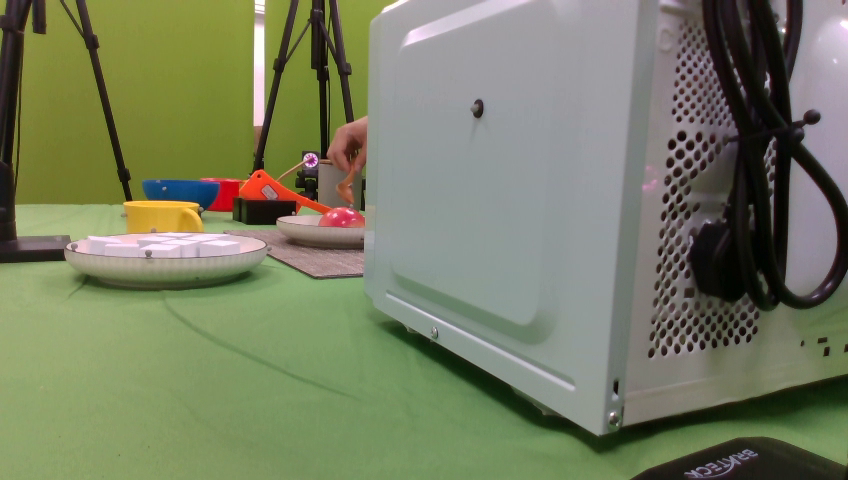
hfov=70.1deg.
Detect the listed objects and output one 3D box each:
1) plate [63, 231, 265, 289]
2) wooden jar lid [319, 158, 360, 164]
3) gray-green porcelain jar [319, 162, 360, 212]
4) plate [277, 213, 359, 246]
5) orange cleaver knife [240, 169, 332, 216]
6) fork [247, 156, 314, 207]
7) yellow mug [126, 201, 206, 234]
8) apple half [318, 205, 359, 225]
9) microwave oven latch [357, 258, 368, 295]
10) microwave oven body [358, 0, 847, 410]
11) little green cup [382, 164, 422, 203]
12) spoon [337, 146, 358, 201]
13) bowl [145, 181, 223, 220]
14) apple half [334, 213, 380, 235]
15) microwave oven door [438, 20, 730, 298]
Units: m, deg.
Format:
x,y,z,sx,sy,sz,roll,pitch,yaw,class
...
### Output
x,y,z,sx,sy,sz,roll,pitch,yaw,class
-0.288,0.021,0.687,0.208,0.039,0.207,2,8,0,plate
-0.203,-0.189,1.482,0.108,0.020,0.108,2,10,0,wooden jar lid
-0.204,-0.126,1.489,0.106,0.126,0.106,2,7,0,gray-green porcelain jar
-0.135,-0.018,0.993,0.209,0.038,0.209,2,7,0,plate
-0.286,-0.082,1.298,0.212,0.077,0.012,25,-2,-31,orange cleaver knife
-0.360,-0.147,1.523,0.207,0.018,0.028,-43,15,-7,fork
-0.360,-0.019,0.866,0.130,0.064,0.100,6,9,27,yellow mug
-0.126,-0.028,0.954,0.081,0.053,0.074,-2,11,-33,apple half
-0.019,0.031,0.529,0.079,0.029,0.030,-1,7,-26,microwave oven latch
0.210,-0.051,0.471,0.444,0.260,0.324,-1,7,-28,microwave oven body
-0.035,-0.092,0.997,0.061,0.038,0.061,-36,-5,-3,little green cup
-0.132,-0.126,1.102,0.042,0.021,0.193,40,29,-24,spoon
-0.499,-0.081,1.261,0.151,0.077,0.151,2,7,0,bowl
-0.112,-0.029,1.034,0.081,0.033,0.081,0,10,0,apple half
0.181,-0.076,0.618,0.358,0.243,0.039,-2,8,-28,microwave oven door
